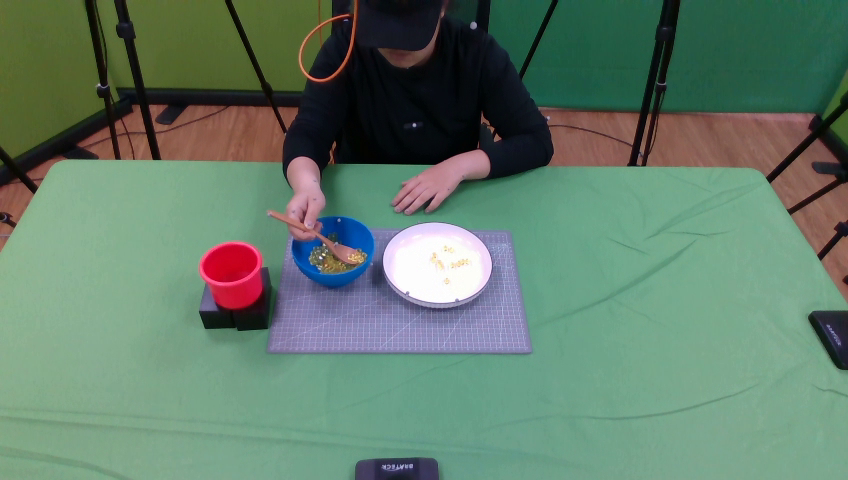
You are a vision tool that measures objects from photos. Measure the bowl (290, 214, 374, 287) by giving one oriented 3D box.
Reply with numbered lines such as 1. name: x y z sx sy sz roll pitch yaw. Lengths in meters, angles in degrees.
1. bowl: -0.165 0.032 1.111 0.151 0.077 0.150 2 46 -2

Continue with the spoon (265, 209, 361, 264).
1. spoon: -0.189 -0.008 1.052 0.195 0.021 0.041 34 34 -33

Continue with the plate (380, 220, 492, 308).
1. plate: 0.022 0.048 1.138 0.208 0.039 0.206 2 46 -2
